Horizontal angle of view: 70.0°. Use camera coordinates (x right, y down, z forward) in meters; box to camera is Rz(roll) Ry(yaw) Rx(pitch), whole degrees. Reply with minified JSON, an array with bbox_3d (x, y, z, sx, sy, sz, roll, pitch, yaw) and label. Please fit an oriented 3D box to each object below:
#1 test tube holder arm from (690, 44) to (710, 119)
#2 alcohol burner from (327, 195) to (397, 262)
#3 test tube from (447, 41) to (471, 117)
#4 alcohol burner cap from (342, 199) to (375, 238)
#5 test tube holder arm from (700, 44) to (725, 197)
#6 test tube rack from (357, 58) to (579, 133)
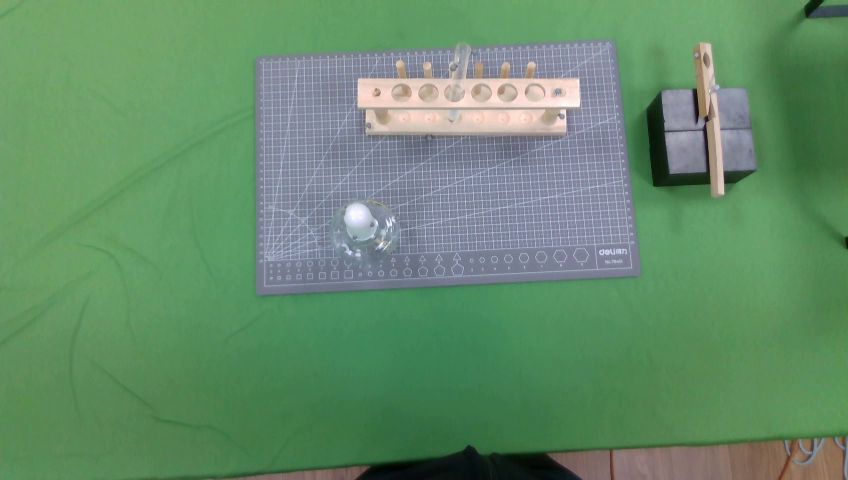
[{"bbox_3d":[0.317,-0.181,0.693,0.010,0.015,0.087,-1,80,-7],"label":"test tube holder arm"},{"bbox_3d":[-0.069,-0.017,0.662,0.078,0.119,0.077,0,78,-1],"label":"alcohol burner"},{"bbox_3d":[0.036,-0.168,0.652,0.017,0.151,0.017,0,77,-1],"label":"test tube"},{"bbox_3d":[-0.069,-0.024,0.627,0.034,0.048,0.033,-1,73,3],"label":"alcohol burner cap"},{"bbox_3d":[0.325,-0.137,0.686,0.013,0.015,0.177,-2,81,-7],"label":"test tube holder arm"},{"bbox_3d":[0.049,-0.171,0.703,0.242,0.085,0.066,0,80,0],"label":"test tube rack"}]
